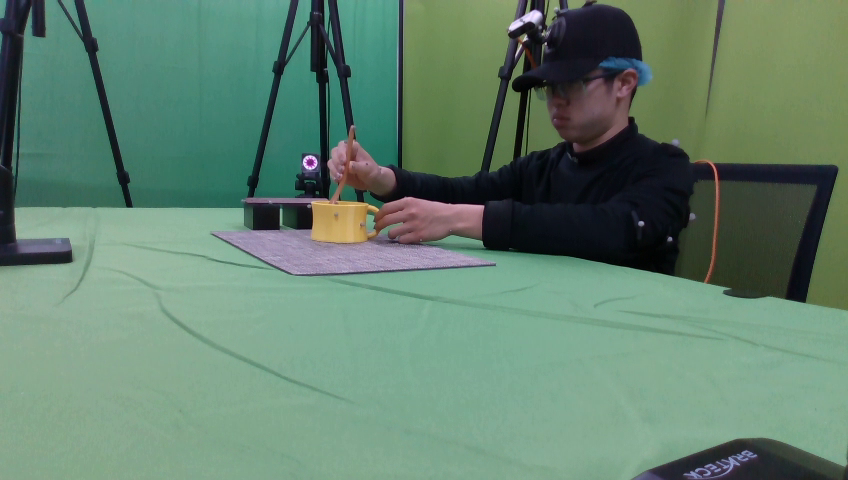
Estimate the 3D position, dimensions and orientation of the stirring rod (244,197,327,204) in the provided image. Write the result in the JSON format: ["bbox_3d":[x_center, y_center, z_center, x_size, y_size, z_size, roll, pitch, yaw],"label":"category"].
[{"bbox_3d":[-0.270,-0.078,1.201,0.177,0.006,0.014,-2,44,-37],"label":"stirring rod"}]

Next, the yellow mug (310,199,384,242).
[{"bbox_3d":[-0.132,-0.035,1.055,0.131,0.064,0.099,0,8,-23],"label":"yellow mug"}]

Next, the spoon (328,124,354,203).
[{"bbox_3d":[-0.144,-0.104,1.041,0.022,0.193,0.041,16,4,-15],"label":"spoon"}]
